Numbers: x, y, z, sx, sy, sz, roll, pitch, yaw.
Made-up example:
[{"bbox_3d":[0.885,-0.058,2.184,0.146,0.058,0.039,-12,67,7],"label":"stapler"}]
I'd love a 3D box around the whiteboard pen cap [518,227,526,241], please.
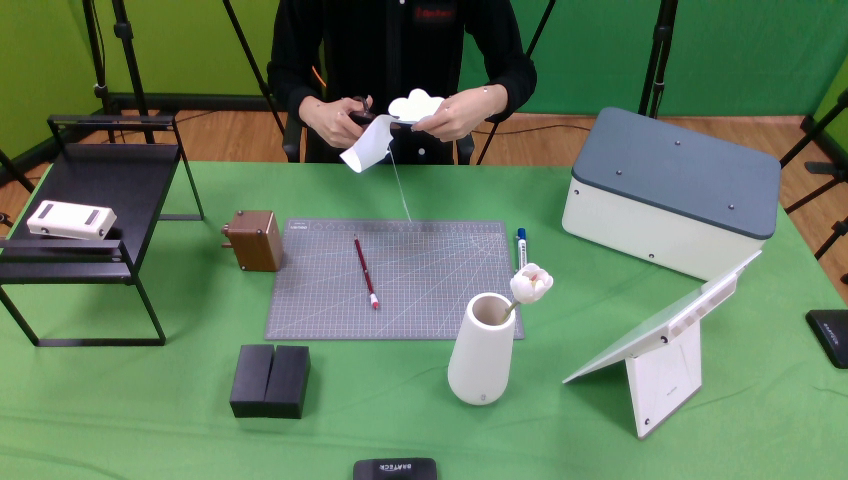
[{"bbox_3d":[0.197,-0.009,1.220,0.018,0.018,0.033,5,51,1],"label":"whiteboard pen cap"}]

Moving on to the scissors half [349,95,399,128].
[{"bbox_3d":[-0.089,-0.220,1.054,0.013,0.040,0.174,-13,32,-31],"label":"scissors half"}]

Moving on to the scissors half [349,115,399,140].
[{"bbox_3d":[-0.089,-0.199,1.059,0.013,0.040,0.174,-7,6,-32],"label":"scissors half"}]

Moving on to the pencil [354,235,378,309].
[{"bbox_3d":[-0.113,0.055,1.143,0.012,0.012,0.192,-10,46,-13],"label":"pencil"}]

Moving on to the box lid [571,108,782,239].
[{"bbox_3d":[0.491,-0.139,1.168,0.370,0.015,0.262,20,49,15],"label":"box lid"}]

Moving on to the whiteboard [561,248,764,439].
[{"bbox_3d":[0.386,0.176,0.905,0.217,0.306,0.143,-26,72,-27],"label":"whiteboard"}]

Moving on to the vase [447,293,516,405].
[{"bbox_3d":[0.091,0.169,0.921,0.098,0.201,0.097,3,47,-3],"label":"vase"}]

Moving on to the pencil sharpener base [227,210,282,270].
[{"bbox_3d":[-0.311,0.001,1.112,0.077,0.107,0.061,1,47,1],"label":"pencil sharpener base"}]

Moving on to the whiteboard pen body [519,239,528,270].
[{"bbox_3d":[0.193,0.035,1.181,0.017,0.017,0.140,6,48,1],"label":"whiteboard pen body"}]

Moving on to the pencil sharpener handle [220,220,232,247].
[{"bbox_3d":[-0.362,-0.009,1.105,0.030,0.068,0.036,1,52,1],"label":"pencil sharpener handle"}]

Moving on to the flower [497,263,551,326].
[{"bbox_3d":[0.102,0.121,0.852,0.044,0.363,0.038,-1,64,-10],"label":"flower"}]

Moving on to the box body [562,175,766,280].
[{"bbox_3d":[0.486,-0.088,1.222,0.363,0.161,0.253,20,48,15],"label":"box body"}]

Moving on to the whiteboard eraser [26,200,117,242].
[{"bbox_3d":[-0.532,-0.026,0.919,0.113,0.042,0.055,7,45,3],"label":"whiteboard eraser"}]
